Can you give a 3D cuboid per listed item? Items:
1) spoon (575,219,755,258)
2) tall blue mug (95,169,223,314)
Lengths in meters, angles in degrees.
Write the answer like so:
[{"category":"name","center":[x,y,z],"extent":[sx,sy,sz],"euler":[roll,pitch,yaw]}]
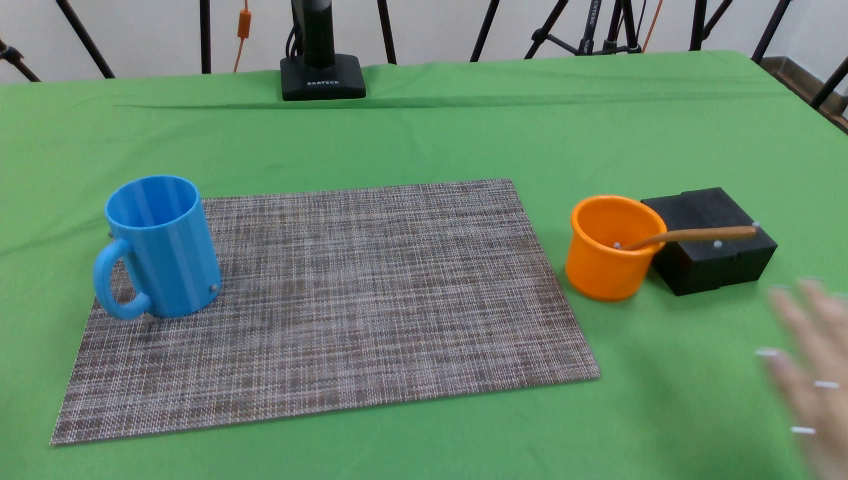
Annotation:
[{"category":"spoon","center":[0.214,-0.003,0.566],"extent":[0.042,0.193,0.021],"euler":[-19,90,-29]},{"category":"tall blue mug","center":[-0.233,0.012,0.541],"extent":[0.078,0.109,0.106],"euler":[2,42,-3]}]
